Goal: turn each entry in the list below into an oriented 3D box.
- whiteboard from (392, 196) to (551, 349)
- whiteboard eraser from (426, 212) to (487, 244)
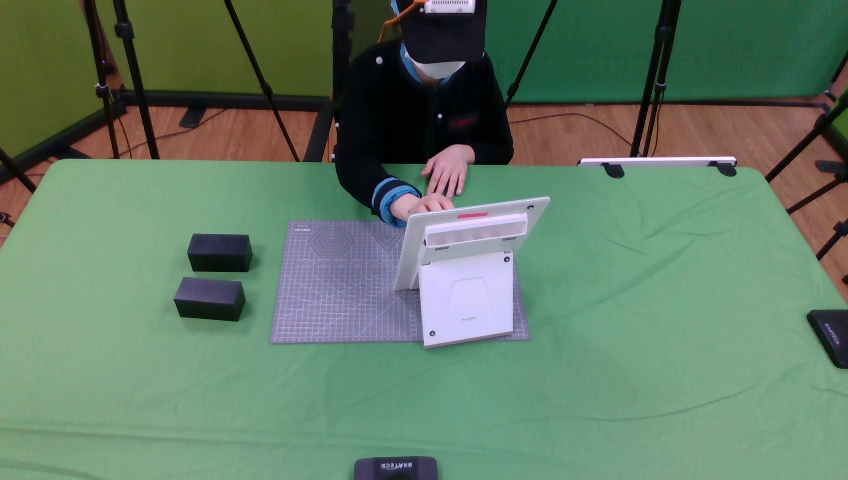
[{"bbox_3d":[0.077,0.071,0.977,0.217,0.306,0.143,-7,67,-11],"label":"whiteboard"},{"bbox_3d":[0.049,-0.018,0.950,0.101,0.041,0.018,-22,64,23],"label":"whiteboard eraser"}]
